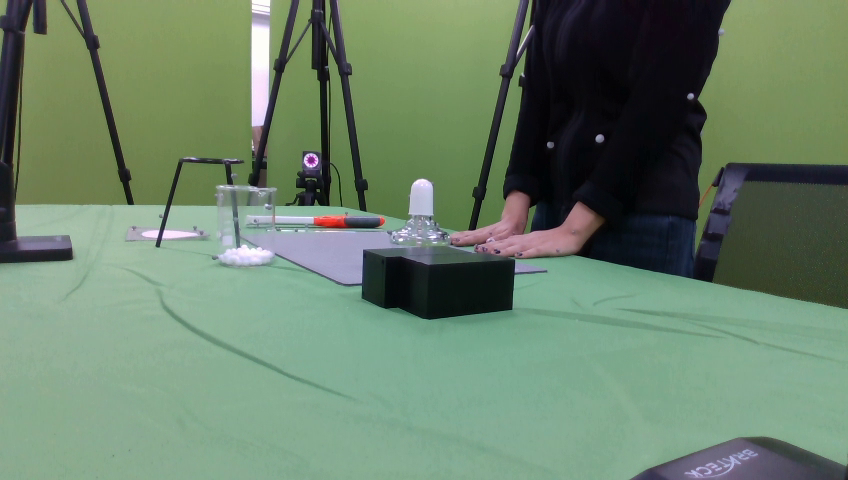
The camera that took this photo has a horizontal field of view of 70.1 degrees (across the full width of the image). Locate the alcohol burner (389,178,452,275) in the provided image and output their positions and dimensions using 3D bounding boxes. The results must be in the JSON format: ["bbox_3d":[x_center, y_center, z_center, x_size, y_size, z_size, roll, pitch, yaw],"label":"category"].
[{"bbox_3d":[-0.004,-0.017,0.749,0.078,0.119,0.078,1,9,0],"label":"alcohol burner"}]

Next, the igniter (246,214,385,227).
[{"bbox_3d":[-0.214,-0.040,1.216,0.278,0.025,0.057,0,-2,-23],"label":"igniter"}]

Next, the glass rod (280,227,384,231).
[{"bbox_3d":[-0.175,-0.021,1.161,0.200,0.008,0.008,1,7,-15],"label":"glass rod"}]

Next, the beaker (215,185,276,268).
[{"bbox_3d":[-0.226,-0.019,0.773,0.074,0.100,0.084,5,7,14],"label":"beaker"}]

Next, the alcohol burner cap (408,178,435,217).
[{"bbox_3d":[-0.002,-0.053,0.746,0.034,0.048,0.034,3,3,0],"label":"alcohol burner cap"}]

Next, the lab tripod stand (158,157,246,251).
[{"bbox_3d":[-0.314,-0.055,0.891,0.148,0.131,0.148,2,9,0],"label":"lab tripod stand"}]

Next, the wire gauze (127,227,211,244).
[{"bbox_3d":[-0.420,-0.010,0.999,0.122,0.011,0.124,-2,10,-24],"label":"wire gauze"}]
